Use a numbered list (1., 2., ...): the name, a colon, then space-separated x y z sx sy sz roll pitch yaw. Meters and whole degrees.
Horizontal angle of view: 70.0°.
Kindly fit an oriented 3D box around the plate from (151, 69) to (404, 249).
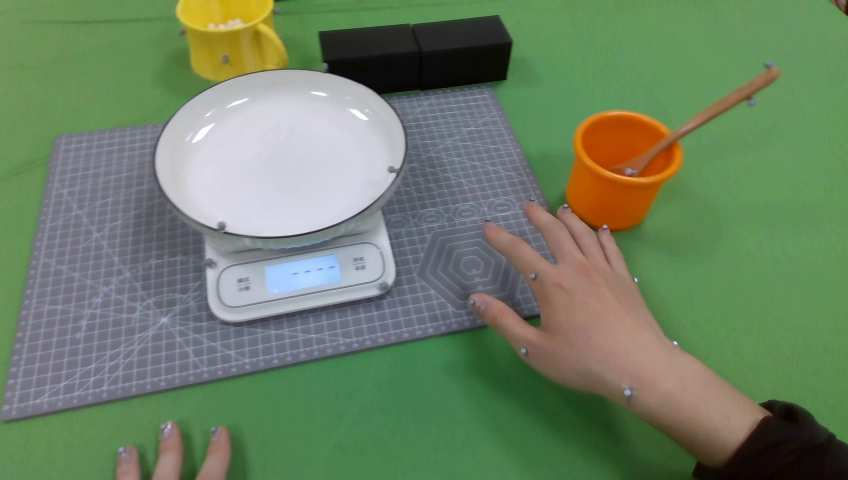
1. plate: -0.121 -0.071 0.522 0.209 0.038 0.207 2 52 -2

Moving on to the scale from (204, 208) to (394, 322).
1. scale: -0.115 -0.028 0.530 0.149 0.032 0.198 -10 53 -10

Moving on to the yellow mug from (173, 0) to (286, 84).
1. yellow mug: -0.202 -0.221 0.661 0.130 0.064 0.099 28 56 18

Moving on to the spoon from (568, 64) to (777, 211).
1. spoon: 0.209 -0.086 0.521 0.022 0.194 0.041 21 40 -46
